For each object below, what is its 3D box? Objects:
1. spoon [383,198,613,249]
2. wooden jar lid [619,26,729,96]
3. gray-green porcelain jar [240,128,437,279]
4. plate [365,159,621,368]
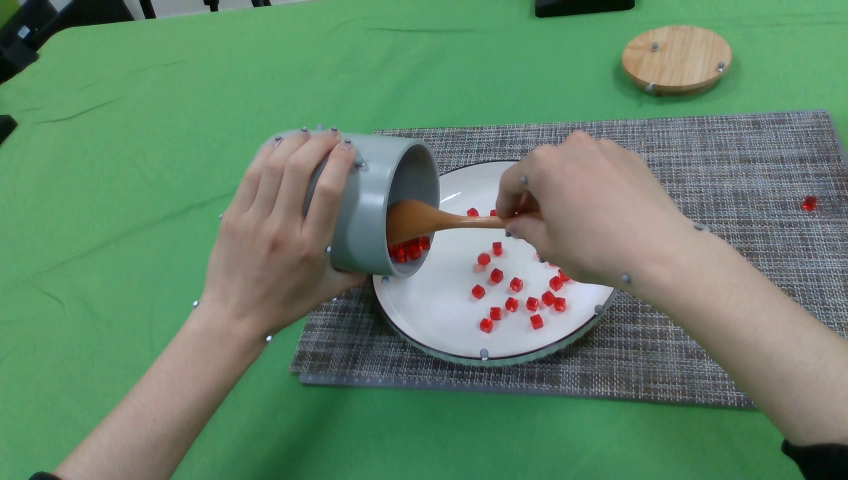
[{"bbox_3d":[0.041,-0.016,0.439,0.193,0.022,0.041,-2,74,31],"label":"spoon"},{"bbox_3d":[0.263,-0.188,0.641,0.108,0.021,0.107,-7,51,9],"label":"wooden jar lid"},{"bbox_3d":[-0.067,-0.031,0.469,0.126,0.107,0.105,9,54,20],"label":"gray-green porcelain jar"},{"bbox_3d":[0.055,0.018,0.506,0.207,0.039,0.205,-7,50,9],"label":"plate"}]
